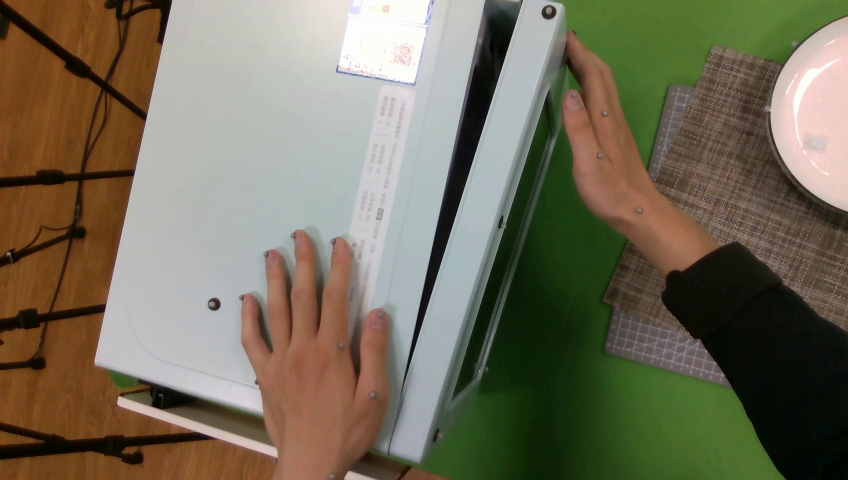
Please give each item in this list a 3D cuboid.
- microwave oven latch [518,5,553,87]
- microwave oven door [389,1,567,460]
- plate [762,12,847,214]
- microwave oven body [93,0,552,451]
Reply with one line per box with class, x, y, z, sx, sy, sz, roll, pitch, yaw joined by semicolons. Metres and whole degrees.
microwave oven latch;0.121;-0.210;0.659;0.030;0.029;0.079;13;91;13
microwave oven door;0.061;0.000;0.560;0.039;0.245;0.355;17;91;15
plate;0.443;-0.121;0.593;0.208;0.038;0.208;-1;86;13
microwave oven body;-0.081;-0.075;0.601;0.325;0.261;0.441;13;91;13
